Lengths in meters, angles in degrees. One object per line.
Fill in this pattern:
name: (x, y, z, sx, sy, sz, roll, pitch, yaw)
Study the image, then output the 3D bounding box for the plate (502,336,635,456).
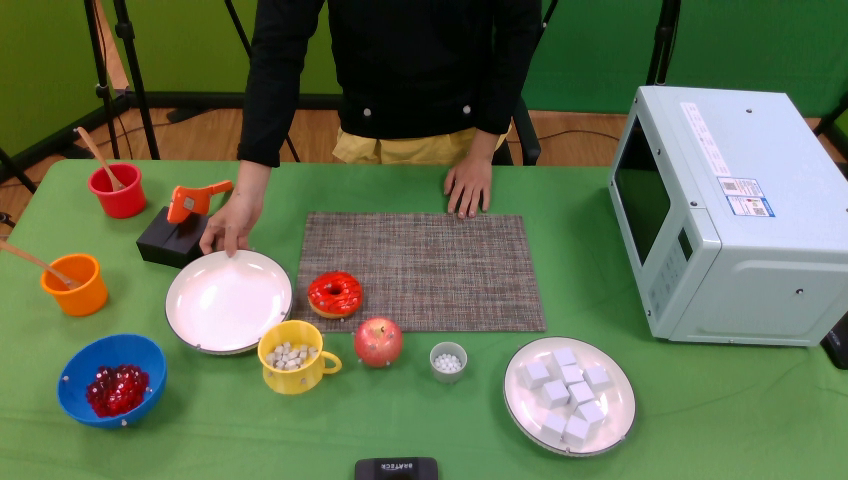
plate: (0.225, 0.248, 0.963, 0.208, 0.039, 0.206, 2, 46, -2)

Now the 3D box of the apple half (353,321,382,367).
apple half: (-0.098, 0.177, 0.984, 0.033, 0.081, 0.081, -17, 49, -25)

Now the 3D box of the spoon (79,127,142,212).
spoon: (-0.624, -0.139, 1.203, 0.041, 0.021, 0.194, -33, 100, -26)

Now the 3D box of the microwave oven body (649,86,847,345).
microwave oven body: (0.567, -0.053, 1.118, 0.326, 0.261, 0.439, 2, 45, -1)

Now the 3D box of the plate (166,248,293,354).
plate: (-0.333, 0.107, 1.047, 0.209, 0.038, 0.208, 5, 52, -6)

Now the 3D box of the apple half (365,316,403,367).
apple half: (-0.063, 0.165, 1.000, 0.053, 0.075, 0.080, -16, 45, -24)

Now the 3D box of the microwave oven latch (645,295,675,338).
microwave oven latch: (0.412, 0.134, 1.061, 0.030, 0.029, 0.078, 3, 45, 0)

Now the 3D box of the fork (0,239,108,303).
fork: (-0.633, 0.048, 1.017, 0.208, 0.018, 0.028, 40, 40, -27)

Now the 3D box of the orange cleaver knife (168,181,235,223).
orange cleaver knife: (-0.436, -0.077, 1.196, 0.012, 0.077, 0.211, 16, 15, 9)

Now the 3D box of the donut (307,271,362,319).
donut: (-0.157, 0.097, 1.072, 0.099, 0.048, 0.098, 3, 45, -3)

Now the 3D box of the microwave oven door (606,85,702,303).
microwave oven door: (0.423, -0.094, 1.140, 0.039, 0.245, 0.353, 2, 46, -1)

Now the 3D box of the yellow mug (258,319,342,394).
yellow mug: (-0.196, 0.189, 0.972, 0.131, 0.064, 0.099, 9, 46, 3)

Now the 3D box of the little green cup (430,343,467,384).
little green cup: (0.039, 0.203, 0.994, 0.061, 0.039, 0.061, 2, 46, -2)

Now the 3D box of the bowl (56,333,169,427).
bowl: (-0.456, 0.223, 0.911, 0.151, 0.077, 0.150, 3, 46, -2)
